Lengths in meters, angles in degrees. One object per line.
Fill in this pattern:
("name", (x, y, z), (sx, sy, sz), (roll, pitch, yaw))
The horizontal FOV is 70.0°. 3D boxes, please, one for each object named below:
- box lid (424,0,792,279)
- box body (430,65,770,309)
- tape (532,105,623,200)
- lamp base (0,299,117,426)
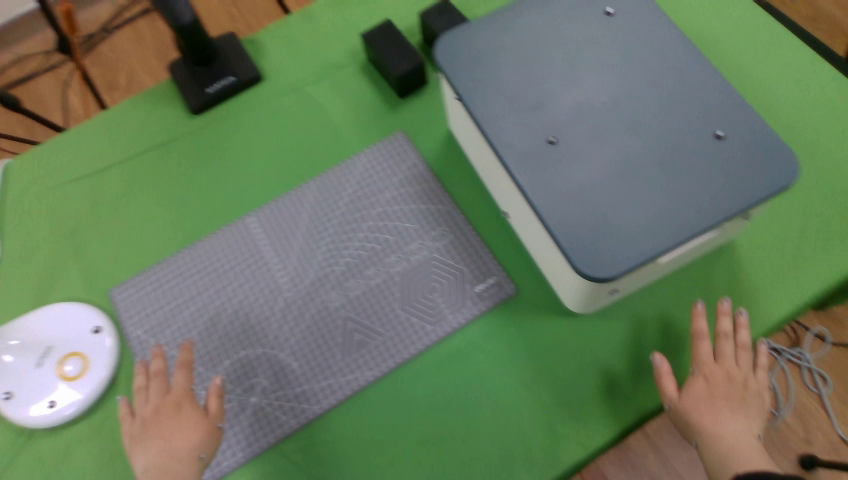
("box lid", (0.187, -0.158, 0.673), (0.263, 0.015, 0.368), (-28, 67, -6))
("box body", (0.195, -0.125, 0.739), (0.254, 0.161, 0.361), (-28, 66, -7))
("tape", (0.197, -0.115, 0.789), (0.117, 0.053, 0.116), (-2, 66, 4))
("lamp base", (-0.483, 0.118, 0.690), (0.179, 0.182, 0.159), (4, 66, 10))
